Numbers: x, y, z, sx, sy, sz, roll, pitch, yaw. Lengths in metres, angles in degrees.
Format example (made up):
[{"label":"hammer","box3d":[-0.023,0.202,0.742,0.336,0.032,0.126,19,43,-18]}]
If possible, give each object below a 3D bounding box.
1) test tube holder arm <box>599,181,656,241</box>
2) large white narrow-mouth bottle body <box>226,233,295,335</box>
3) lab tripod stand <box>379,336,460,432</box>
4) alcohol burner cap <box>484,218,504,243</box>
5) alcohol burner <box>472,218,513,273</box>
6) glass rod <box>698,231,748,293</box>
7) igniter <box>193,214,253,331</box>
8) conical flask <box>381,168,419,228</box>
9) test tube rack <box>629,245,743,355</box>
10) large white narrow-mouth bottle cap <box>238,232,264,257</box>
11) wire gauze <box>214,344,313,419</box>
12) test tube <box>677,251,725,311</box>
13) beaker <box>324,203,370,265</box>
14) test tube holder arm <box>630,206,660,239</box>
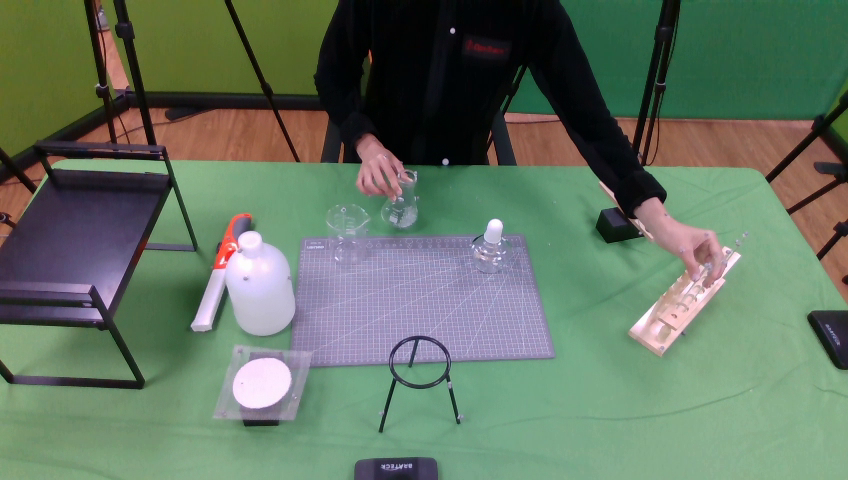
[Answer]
[{"label":"test tube holder arm","box3d":[0.407,-0.062,1.219,0.013,0.015,0.177,-23,51,-12]},{"label":"large white narrow-mouth bottle body","box3d":[-0.270,0.065,0.995,0.102,0.195,0.101,2,46,-2]},{"label":"lab tripod stand","box3d":[-0.010,0.214,0.911,0.148,0.132,0.147,1,45,-1]},{"label":"alcohol burner cap","box3d":[0.130,-0.021,1.106,0.034,0.048,0.033,3,52,-4]},{"label":"alcohol burner","box3d":[0.128,0.005,1.132,0.078,0.120,0.077,0,47,0]},{"label":"glass rod","box3d":[0.514,0.045,1.051,0.008,0.200,0.008,1,55,-1]},{"label":"igniter","box3d":[-0.368,0.050,1.119,0.057,0.025,0.275,-3,46,8]},{"label":"conical flask","box3d":[-0.040,-0.084,1.169,0.075,0.122,0.075,5,54,-7]},{"label":"test tube rack","box3d":[0.474,0.095,1.091,0.242,0.085,0.066,-34,57,-31]},{"label":"large white narrow-mouth bottle cap","box3d":[-0.266,0.007,0.933,0.038,0.024,0.037,2,46,-2]},{"label":"wire gauze","box3d":[-0.241,0.213,0.915,0.121,0.011,0.124,5,46,1]},{"label":"test tube","box3d":[0.441,0.070,0.971,0.017,0.151,0.017,4,49,-4]},{"label":"beaker","box3d":[-0.142,-0.009,1.137,0.084,0.101,0.073,-2,47,-7]},{"label":"test tube holder arm","box3d":[0.432,-0.034,1.192,0.010,0.015,0.087,-23,51,-12]}]
